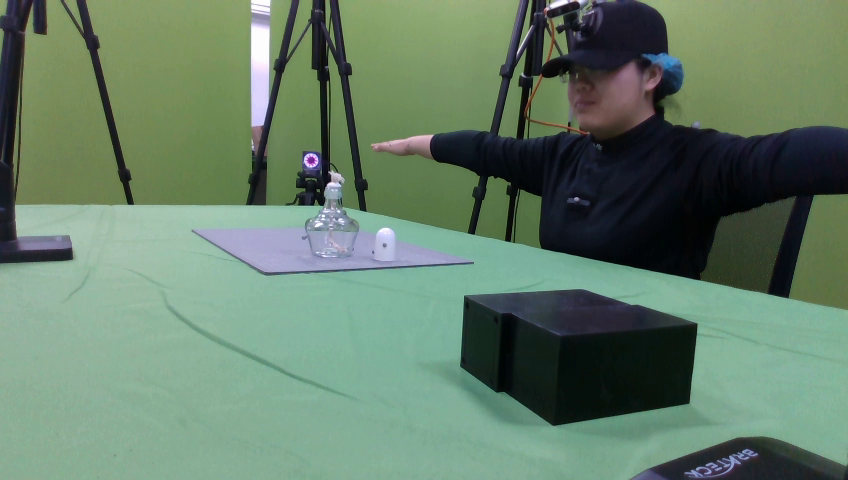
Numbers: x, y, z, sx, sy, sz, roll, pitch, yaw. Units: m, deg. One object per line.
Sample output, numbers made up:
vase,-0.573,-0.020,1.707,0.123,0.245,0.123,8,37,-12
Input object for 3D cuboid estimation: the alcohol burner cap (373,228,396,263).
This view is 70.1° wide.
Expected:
alcohol burner cap,-0.054,0.007,0.836,0.034,0.048,0.034,3,7,0

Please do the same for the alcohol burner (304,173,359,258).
alcohol burner,-0.129,-0.035,0.852,0.078,0.119,0.078,2,5,0
